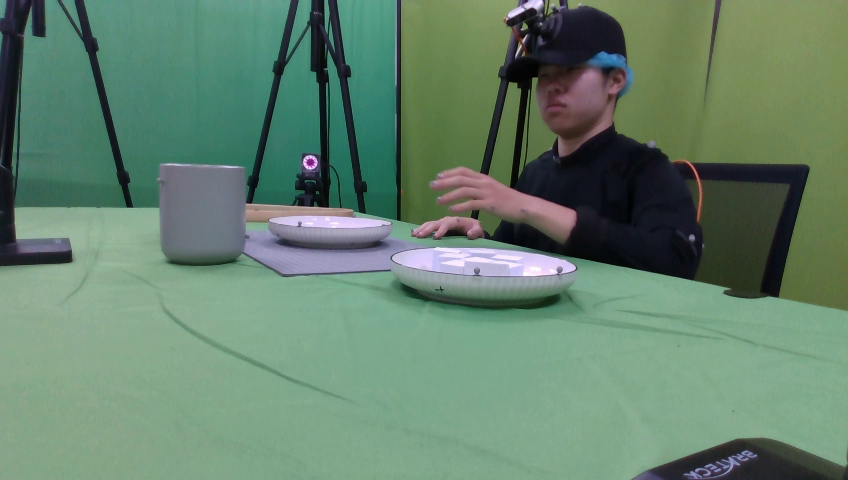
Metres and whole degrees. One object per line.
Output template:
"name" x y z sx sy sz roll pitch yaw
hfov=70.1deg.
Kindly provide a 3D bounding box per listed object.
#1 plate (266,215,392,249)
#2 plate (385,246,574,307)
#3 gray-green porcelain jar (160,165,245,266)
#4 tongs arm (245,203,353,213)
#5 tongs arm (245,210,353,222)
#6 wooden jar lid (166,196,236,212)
"plate" -0.159 -0.015 1.019 0.209 0.038 0.209 3 7 0
"plate" 0.060 0.041 0.678 0.208 0.039 0.207 3 7 0
"gray-green porcelain jar" -0.291 -0.034 0.799 0.106 0.126 0.106 2 8 0
"tongs arm" -0.361 -0.069 1.406 0.386 0.026 0.050 2 8 -14
"tongs arm" -0.337 -0.053 1.329 0.389 0.028 0.028 -1 6 -27
"wooden jar lid" -0.369 -0.059 1.001 0.108 0.020 0.108 3 6 0
